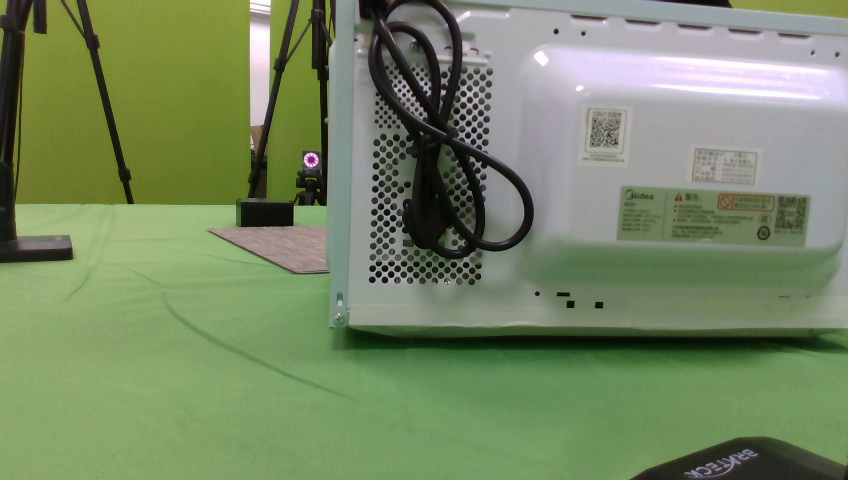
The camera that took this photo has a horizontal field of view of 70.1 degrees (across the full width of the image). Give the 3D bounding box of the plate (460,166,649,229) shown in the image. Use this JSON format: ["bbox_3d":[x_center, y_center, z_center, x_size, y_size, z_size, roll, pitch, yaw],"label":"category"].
[{"bbox_3d":[0.142,-0.049,0.682,0.209,0.038,0.209,7,14,-1],"label":"plate"}]

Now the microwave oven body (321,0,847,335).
[{"bbox_3d":[0.133,-0.062,0.568,0.443,0.260,0.325,2,6,-8],"label":"microwave oven body"}]

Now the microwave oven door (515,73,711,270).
[{"bbox_3d":[0.253,-0.103,0.890,0.039,0.243,0.354,-1,8,-26],"label":"microwave oven door"}]

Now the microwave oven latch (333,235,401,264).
[{"bbox_3d":[-0.065,0.011,0.700,0.079,0.029,0.030,2,6,-8],"label":"microwave oven latch"}]

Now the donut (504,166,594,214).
[{"bbox_3d":[0.137,-0.056,0.667,0.099,0.048,0.099,5,12,-1],"label":"donut"}]
